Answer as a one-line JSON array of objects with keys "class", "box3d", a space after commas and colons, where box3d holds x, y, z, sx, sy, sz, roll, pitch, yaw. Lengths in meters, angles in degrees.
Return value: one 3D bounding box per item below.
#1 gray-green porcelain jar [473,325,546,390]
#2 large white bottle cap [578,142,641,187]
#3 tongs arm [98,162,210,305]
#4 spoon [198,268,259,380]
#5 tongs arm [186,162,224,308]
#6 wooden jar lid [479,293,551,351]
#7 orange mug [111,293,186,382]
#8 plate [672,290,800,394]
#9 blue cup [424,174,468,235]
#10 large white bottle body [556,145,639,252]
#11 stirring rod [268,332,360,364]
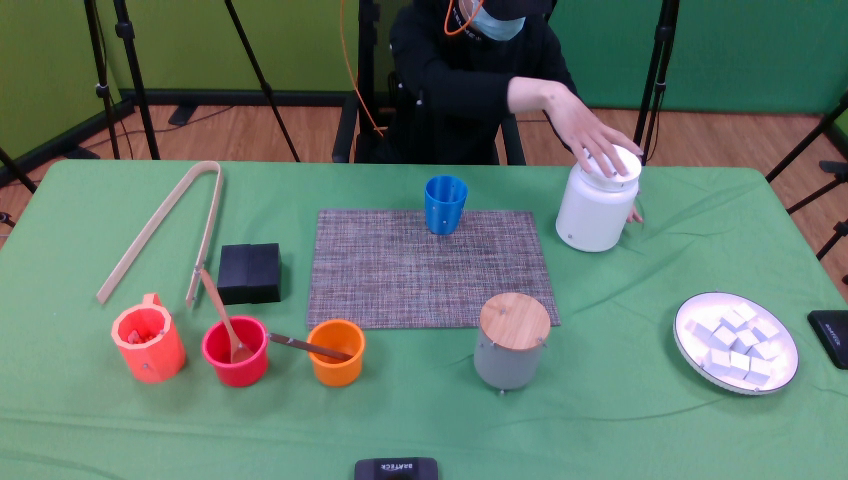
[{"class": "gray-green porcelain jar", "box3d": [0.135, 0.170, 0.969, 0.106, 0.127, 0.105, 2, 46, -2]}, {"class": "large white bottle cap", "box3d": [0.344, -0.141, 1.124, 0.115, 0.018, 0.114, 2, 46, -2]}, {"class": "tongs arm", "box3d": [-0.519, -0.027, 1.184, 0.028, 0.028, 0.385, 4, 45, 13]}, {"class": "spoon", "box3d": [-0.312, 0.132, 0.962, 0.041, 0.021, 0.194, -24, 96, -22]}, {"class": "tongs arm", "box3d": [-0.435, -0.025, 1.181, 0.051, 0.027, 0.382, -3, 45, 1]}, {"class": "wooden jar lid", "box3d": [0.137, 0.127, 0.925, 0.108, 0.021, 0.107, 1, 47, -1]}, {"class": "orange mug", "box3d": [-0.435, 0.149, 0.969, 0.083, 0.101, 0.125, -5, 51, -8]}, {"class": "plate", "box3d": [0.533, 0.178, 1.050, 0.208, 0.039, 0.206, 2, 46, -2]}, {"class": "blue cup", "box3d": [0.039, -0.065, 1.201, 0.093, 0.101, 0.092, 3, 47, -3]}, {"class": "large white bottle body", "box3d": [0.340, -0.081, 1.185, 0.131, 0.185, 0.130, 2, 47, -2]}, {"class": "stirring rod", "box3d": [-0.167, 0.169, 0.942, 0.177, 0.006, 0.014, 26, 26, -41]}]
